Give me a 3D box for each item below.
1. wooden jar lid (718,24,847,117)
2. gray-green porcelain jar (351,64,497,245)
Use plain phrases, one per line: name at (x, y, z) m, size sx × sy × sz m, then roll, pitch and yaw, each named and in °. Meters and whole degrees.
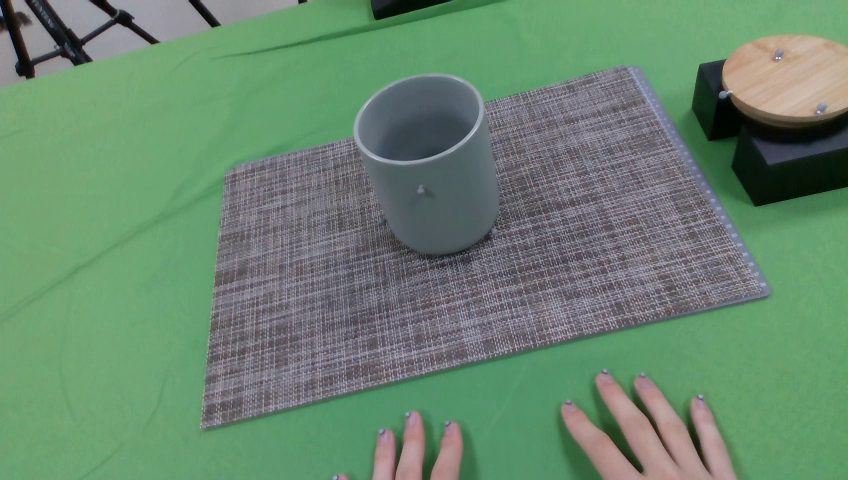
wooden jar lid at (0.304, -0.141, 0.506) m, size 0.108 × 0.021 × 0.107 m, roll -7°, pitch 53°, yaw 10°
gray-green porcelain jar at (0.006, -0.065, 0.515) m, size 0.106 × 0.128 × 0.105 m, roll -7°, pitch 52°, yaw 9°
